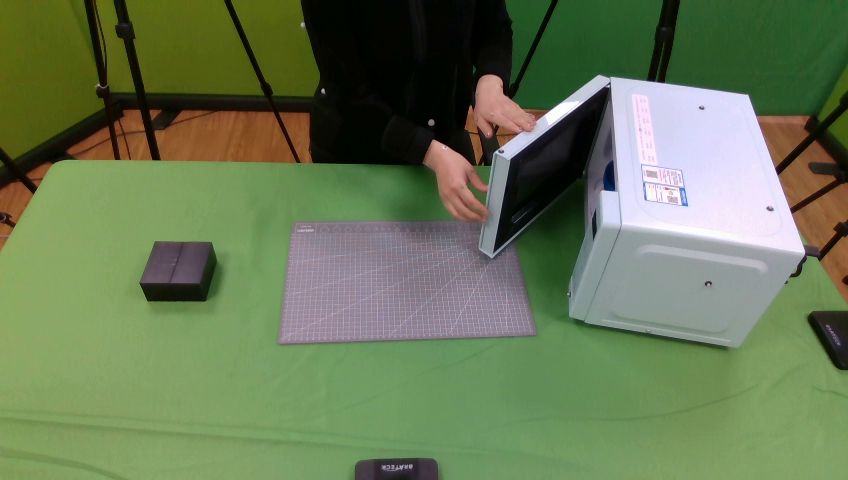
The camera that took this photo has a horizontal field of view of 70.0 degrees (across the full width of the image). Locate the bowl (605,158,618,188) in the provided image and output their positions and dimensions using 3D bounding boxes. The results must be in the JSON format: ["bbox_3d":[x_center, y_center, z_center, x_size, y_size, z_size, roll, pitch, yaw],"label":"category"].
[{"bbox_3d":[0.422,-0.094,1.195,0.151,0.077,0.150,4,48,-4],"label":"bowl"}]

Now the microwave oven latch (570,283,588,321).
[{"bbox_3d":[0.276,0.105,1.082,0.030,0.029,0.079,10,45,7],"label":"microwave oven latch"}]

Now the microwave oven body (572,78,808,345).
[{"bbox_3d":[0.456,-0.063,1.124,0.326,0.261,0.439,8,45,5],"label":"microwave oven body"}]

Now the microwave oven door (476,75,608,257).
[{"bbox_3d":[0.236,-0.150,1.185,0.039,0.245,0.355,34,53,25],"label":"microwave oven door"}]
